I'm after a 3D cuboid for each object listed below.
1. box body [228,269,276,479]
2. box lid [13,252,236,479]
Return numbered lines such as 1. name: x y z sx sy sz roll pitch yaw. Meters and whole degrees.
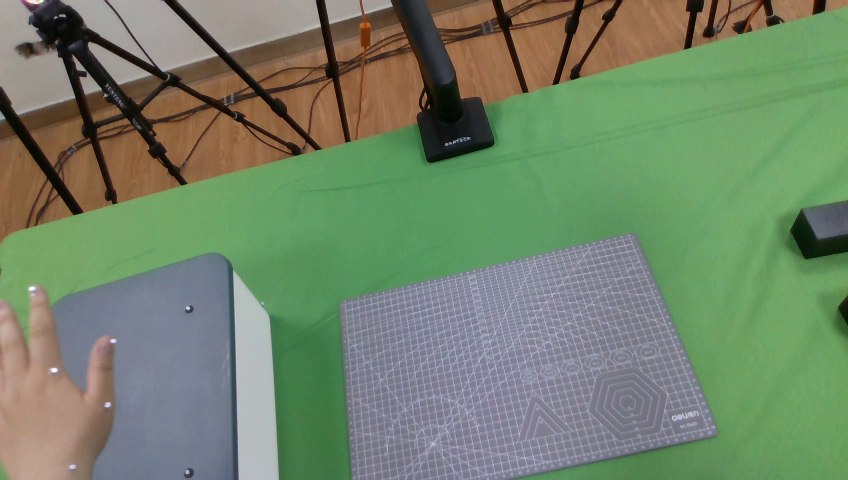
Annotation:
1. box body: -0.336 0.233 0.775 0.254 0.162 0.360 -16 56 2
2. box lid: -0.350 0.192 0.714 0.263 0.015 0.367 -16 57 2
